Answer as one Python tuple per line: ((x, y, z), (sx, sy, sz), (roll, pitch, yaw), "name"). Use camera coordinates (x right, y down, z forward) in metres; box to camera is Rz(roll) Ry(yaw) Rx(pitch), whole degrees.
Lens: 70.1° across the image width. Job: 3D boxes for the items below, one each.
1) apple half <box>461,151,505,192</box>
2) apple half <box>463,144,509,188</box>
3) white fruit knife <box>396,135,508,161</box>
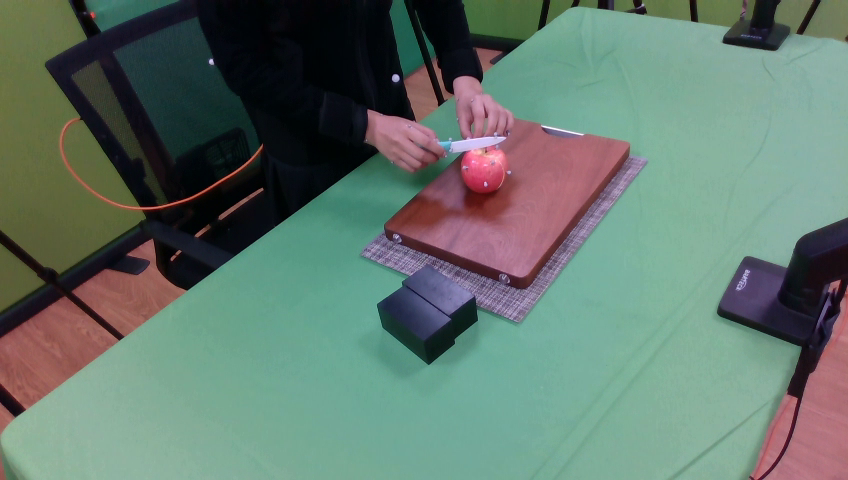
((0.093, -0.106, 1.005), (0.081, 0.081, 0.033), (12, 41, 23), "apple half")
((0.110, -0.129, 1.031), (0.080, 0.075, 0.053), (9, 39, 26), "apple half")
((0.042, -0.156, 1.006), (0.206, 0.027, 0.016), (-5, 47, 25), "white fruit knife")
